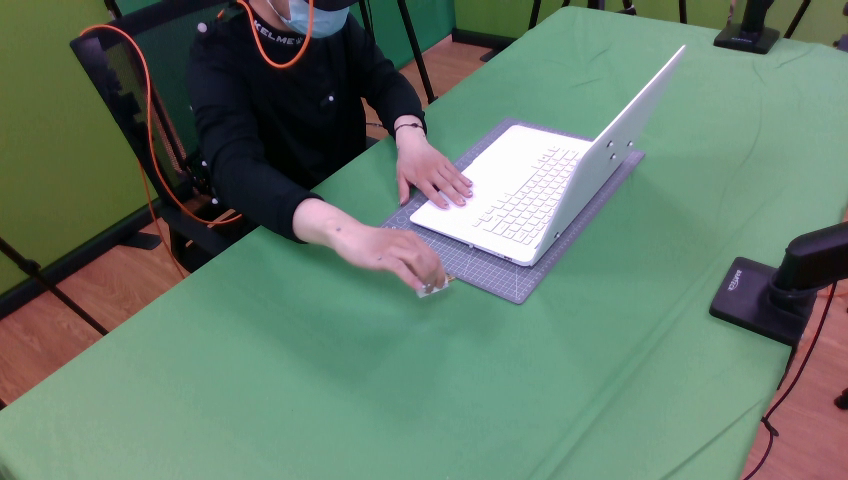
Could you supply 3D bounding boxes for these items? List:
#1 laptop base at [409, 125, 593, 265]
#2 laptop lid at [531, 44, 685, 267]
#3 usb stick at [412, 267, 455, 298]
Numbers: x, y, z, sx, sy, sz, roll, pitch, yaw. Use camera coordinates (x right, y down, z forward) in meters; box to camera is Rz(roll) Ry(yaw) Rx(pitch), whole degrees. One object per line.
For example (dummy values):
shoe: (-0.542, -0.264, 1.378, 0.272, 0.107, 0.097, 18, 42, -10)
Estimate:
laptop base: (0.169, -0.093, 1.055, 0.233, 0.023, 0.355, 19, 47, 33)
laptop lid: (0.279, -0.128, 0.906, 0.013, 0.242, 0.357, 34, 52, 17)
usb stick: (0.014, 0.056, 0.827, 0.059, 0.027, 0.021, -17, 31, -20)
